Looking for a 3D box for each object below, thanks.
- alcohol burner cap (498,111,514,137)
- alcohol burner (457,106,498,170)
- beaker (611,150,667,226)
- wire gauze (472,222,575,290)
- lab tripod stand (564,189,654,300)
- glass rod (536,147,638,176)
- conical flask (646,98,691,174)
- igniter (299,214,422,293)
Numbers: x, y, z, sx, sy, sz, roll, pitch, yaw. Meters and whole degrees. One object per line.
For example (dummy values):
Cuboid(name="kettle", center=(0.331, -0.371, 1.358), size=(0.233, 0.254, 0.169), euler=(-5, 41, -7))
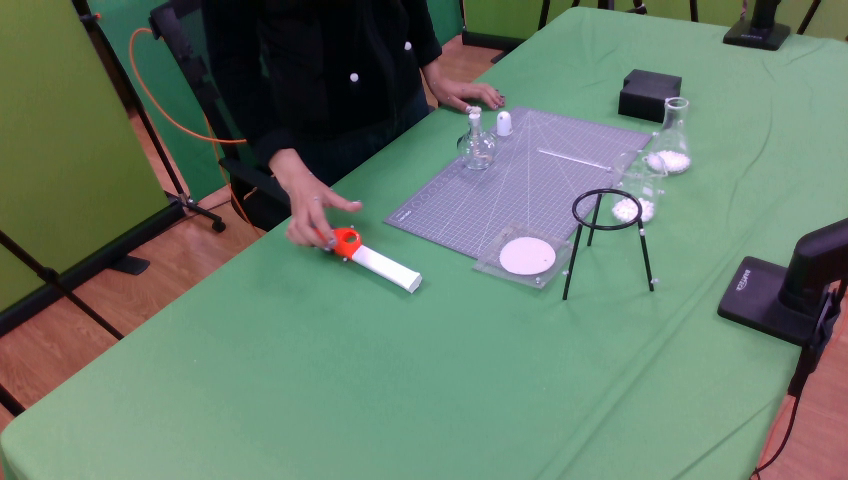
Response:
Cuboid(name="alcohol burner cap", center=(0.163, -0.235, 1.211), size=(0.034, 0.048, 0.033), euler=(-6, 40, 6))
Cuboid(name="alcohol burner", center=(0.097, -0.191, 1.117), size=(0.078, 0.119, 0.077), euler=(-7, 39, 6))
Cuboid(name="beaker", center=(0.337, -0.079, 0.953), size=(0.083, 0.101, 0.074), euler=(25, 51, 33))
Cuboid(name="wire gauze", center=(0.158, 0.024, 0.933), size=(0.120, 0.011, 0.125), euler=(21, 49, 31))
Cuboid(name="lab tripod stand", center=(0.251, 0.003, 0.845), size=(0.148, 0.132, 0.147), euler=(-7, 39, 6))
Cuboid(name="glass rod", center=(0.294, -0.145, 1.104), size=(0.198, 0.008, 0.008), euler=(22, 50, 31))
Cuboid(name="conical flask", center=(0.426, -0.180, 1.037), size=(0.075, 0.122, 0.075), euler=(-5, 40, 5))
Cuboid(name="igniter", center=(-0.113, 0.016, 0.982), size=(0.274, 0.025, 0.057), euler=(26, 66, 34))
